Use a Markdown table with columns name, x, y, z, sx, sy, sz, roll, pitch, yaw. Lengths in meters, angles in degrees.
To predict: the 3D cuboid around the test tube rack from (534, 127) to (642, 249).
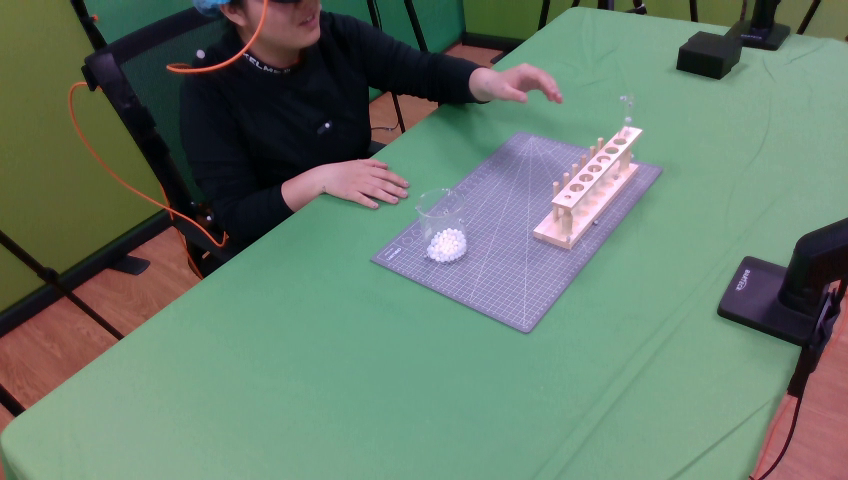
| name | x | y | z | sx | sy | sz | roll | pitch | yaw |
| --- | --- | --- | --- | --- | --- | --- | --- | --- | --- |
| test tube rack | 0.271 | -0.095 | 0.990 | 0.066 | 0.085 | 0.243 | 23 | 49 | 33 |

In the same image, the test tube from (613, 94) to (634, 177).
| name | x | y | z | sx | sy | sz | roll | pitch | yaw |
| --- | --- | --- | --- | --- | --- | --- | --- | --- | --- |
| test tube | 0.325 | -0.168 | 0.989 | 0.017 | 0.151 | 0.017 | -3 | 40 | 3 |

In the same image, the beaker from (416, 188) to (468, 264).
| name | x | y | z | sx | sy | sz | roll | pitch | yaw |
| --- | --- | --- | --- | --- | --- | --- | --- | --- | --- |
| beaker | 0.032 | -0.021 | 0.937 | 0.073 | 0.101 | 0.084 | 9 | 42 | 20 |
